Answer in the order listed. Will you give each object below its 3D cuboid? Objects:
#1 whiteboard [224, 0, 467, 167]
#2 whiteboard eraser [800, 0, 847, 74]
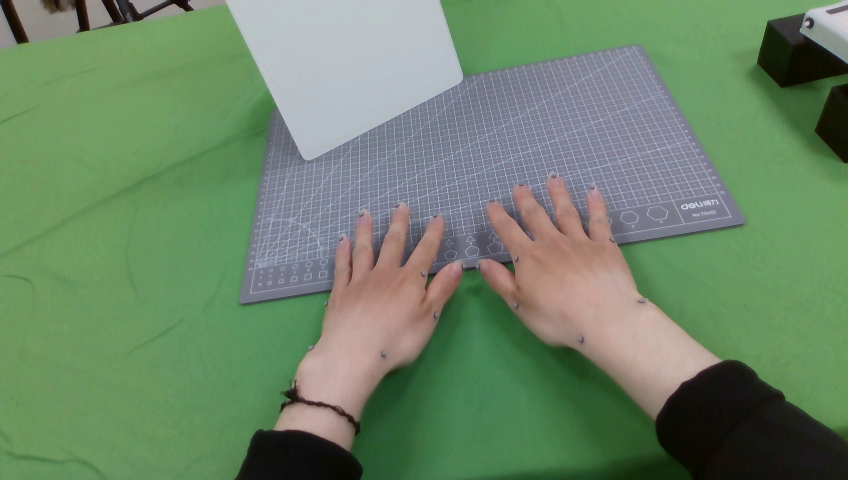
[{"bbox_3d":[-0.118,-0.277,0.675,0.217,0.308,0.142,-30,29,-14],"label":"whiteboard"},{"bbox_3d":[0.401,-0.178,0.551,0.055,0.042,0.111,-18,43,4],"label":"whiteboard eraser"}]
